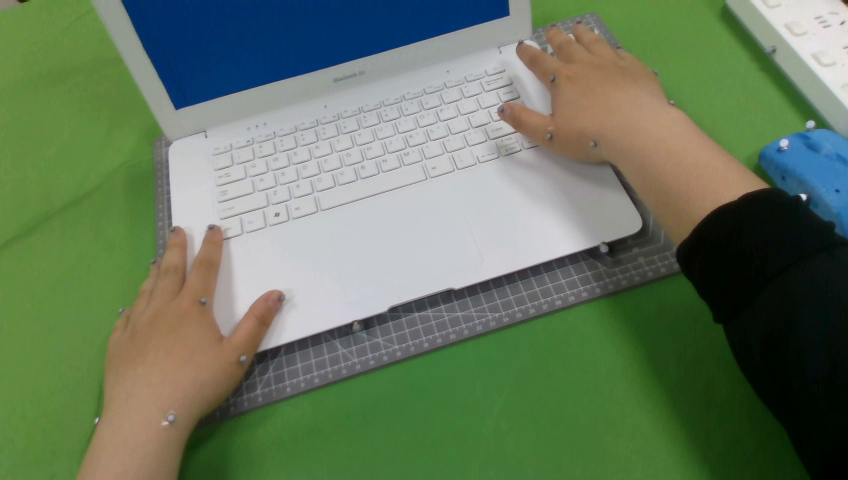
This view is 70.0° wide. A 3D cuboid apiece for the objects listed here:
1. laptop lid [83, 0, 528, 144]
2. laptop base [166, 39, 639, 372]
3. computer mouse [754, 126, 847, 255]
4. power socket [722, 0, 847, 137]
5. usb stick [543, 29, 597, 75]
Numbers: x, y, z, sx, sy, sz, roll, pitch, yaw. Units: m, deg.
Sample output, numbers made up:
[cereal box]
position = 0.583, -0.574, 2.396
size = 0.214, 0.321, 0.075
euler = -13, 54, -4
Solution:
[laptop lid]
position = -0.089, -0.220, 0.491
size = 0.357, 0.244, 0.013
euler = -19, 43, -3
[laptop base]
position = -0.035, -0.045, 0.506
size = 0.354, 0.023, 0.233
euler = -18, 59, -4
[computer mouse]
position = 0.301, -0.043, 0.444
size = 0.063, 0.041, 0.116
euler = -18, 51, -1
[power socket]
position = 0.342, -0.173, 0.529
size = 0.072, 0.033, 0.224
euler = -14, 56, -1
[usb stick]
position = 0.126, -0.169, 0.552
size = 0.059, 0.027, 0.021
euler = -19, 56, 0
